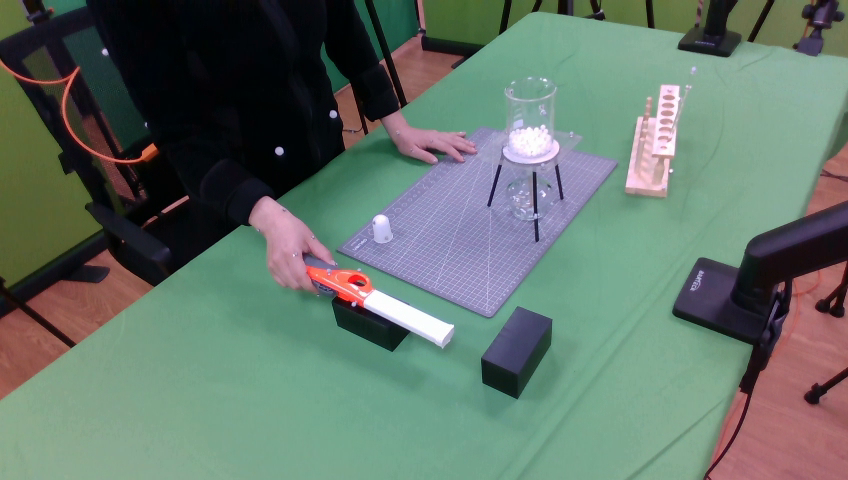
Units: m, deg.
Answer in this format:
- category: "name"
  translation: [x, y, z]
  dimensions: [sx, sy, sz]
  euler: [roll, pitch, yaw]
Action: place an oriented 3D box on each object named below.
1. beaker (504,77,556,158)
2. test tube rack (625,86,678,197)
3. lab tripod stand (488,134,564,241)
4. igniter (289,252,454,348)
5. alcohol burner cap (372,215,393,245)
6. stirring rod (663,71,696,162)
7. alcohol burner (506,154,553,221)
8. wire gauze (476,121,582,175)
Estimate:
- category: "beaker"
  translation: [0.160, -0.181, 0.900]
  dimensions: [0.084, 0.101, 0.073]
  euler: [-33, 46, -27]
- category: "test tube rack"
  translation: [0.412, -0.184, 1.088]
  dimensions: [0.066, 0.085, 0.242]
  euler: [9, 43, 18]
- category: "lab tripod stand"
  translation: [0.168, -0.092, 0.972]
  dimensions: [0.148, 0.132, 0.147]
  euler: [-5, 41, 5]
- category: "igniter"
  translation: [-0.081, 0.076, 0.822]
  dimensions: [0.274, 0.025, 0.057]
  euler: [23, 47, 27]
- category: "alcohol burner cap"
  translation: [-0.070, -0.019, 0.990]
  dimensions: [0.034, 0.048, 0.033]
  euler: [-4, 42, 4]
- category: "stirring rod"
  translation: [0.410, -0.195, 0.981]
  dimensions: [0.014, 0.177, 0.006]
  euler: [12, 50, 14]
- category: "alcohol burner"
  translation: [0.171, -0.090, 0.984]
  dimensions: [0.078, 0.119, 0.077]
  euler: [-5, 42, 5]
- category: "wire gauze"
  translation: [0.162, -0.142, 0.929]
  dimensions: [0.120, 0.011, 0.125]
  euler: [19, 49, 32]
